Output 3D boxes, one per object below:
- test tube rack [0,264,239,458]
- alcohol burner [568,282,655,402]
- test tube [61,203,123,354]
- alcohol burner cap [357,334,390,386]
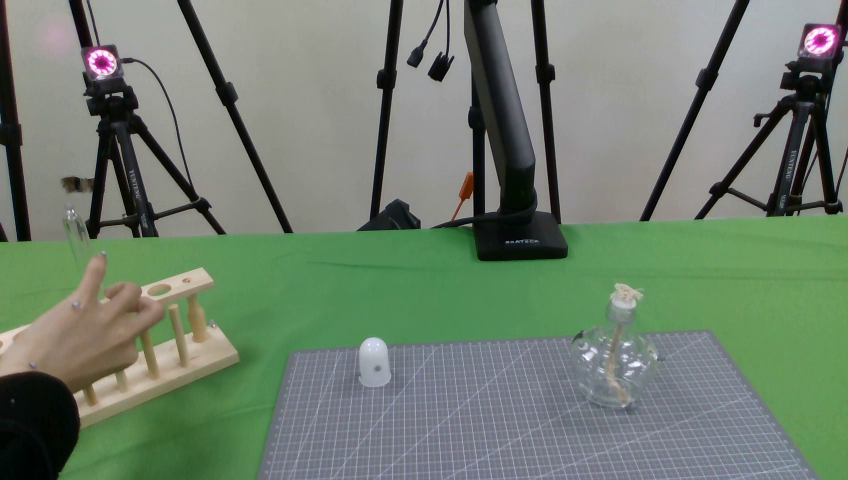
[{"bbox_3d":[-0.310,0.110,0.571,0.243,0.086,0.066,-21,35,-31],"label":"test tube rack"},{"bbox_3d":[0.172,0.088,0.551,0.078,0.120,0.077,0,29,0],"label":"alcohol burner"},{"bbox_3d":[-0.286,0.037,0.525,0.017,0.151,0.017,1,29,0],"label":"test tube"},{"bbox_3d":[-0.051,0.114,0.590,0.034,0.048,0.033,-1,29,1],"label":"alcohol burner cap"}]
